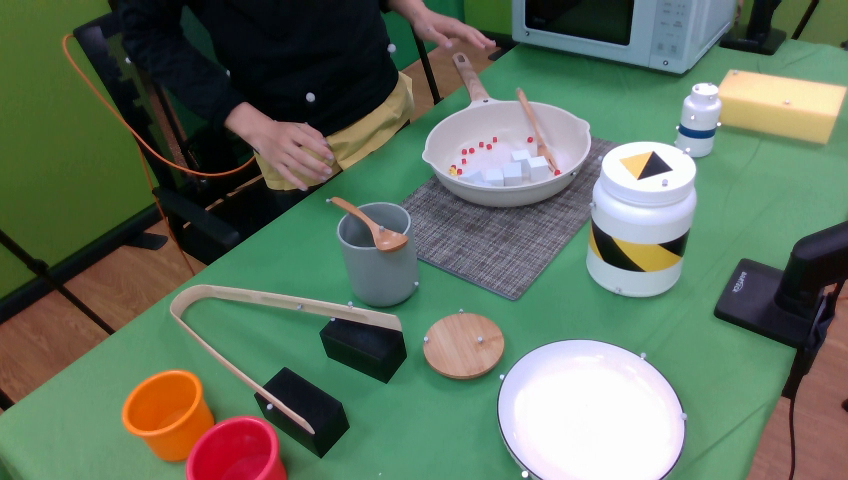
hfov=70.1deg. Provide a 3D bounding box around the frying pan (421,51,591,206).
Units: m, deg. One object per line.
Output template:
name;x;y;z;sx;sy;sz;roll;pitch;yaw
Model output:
frying pan;0.127;-0.233;1.154;0.307;0.103;0.484;-11;49;-5

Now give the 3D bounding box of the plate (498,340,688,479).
plate;0.189;0.206;0.692;0.207;0.039;0.206;-4;40;4

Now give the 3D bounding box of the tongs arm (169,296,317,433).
tongs arm;-0.248;0.149;0.775;0.384;0.028;0.028;21;57;44

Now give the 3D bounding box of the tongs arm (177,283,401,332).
tongs arm;-0.199;0.096;0.823;0.382;0.027;0.051;7;45;33

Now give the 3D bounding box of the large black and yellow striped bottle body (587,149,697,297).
large black and yellow striped bottle body;0.298;-0.026;0.835;0.131;0.185;0.130;-4;41;4

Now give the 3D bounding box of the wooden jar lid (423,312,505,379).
wooden jar lid;0.053;0.142;0.800;0.108;0.021;0.108;-4;39;4

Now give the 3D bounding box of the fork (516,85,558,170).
fork;0.208;-0.213;1.134;0.028;0.019;0.206;-16;66;1

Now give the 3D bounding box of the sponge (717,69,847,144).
sponge;0.663;-0.256;1.142;0.205;0.061;0.118;19;47;28

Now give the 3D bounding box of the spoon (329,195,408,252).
spoon;-0.082;-0.029;0.828;0.042;0.022;0.192;-31;43;-20

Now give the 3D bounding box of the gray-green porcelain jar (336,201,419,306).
gray-green porcelain jar;-0.064;0.024;0.872;0.106;0.127;0.105;-4;41;4

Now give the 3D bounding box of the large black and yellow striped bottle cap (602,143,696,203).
large black and yellow striped bottle cap;0.289;-0.088;0.779;0.115;0.019;0.114;-5;40;4

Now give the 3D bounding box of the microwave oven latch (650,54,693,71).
microwave oven latch;0.531;-0.386;1.301;0.078;0.029;0.030;26;51;33

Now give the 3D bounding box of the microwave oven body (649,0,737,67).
microwave oven body;0.475;-0.602;1.411;0.438;0.261;0.327;23;50;32

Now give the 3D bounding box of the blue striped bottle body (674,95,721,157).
blue striped bottle body;0.486;-0.213;1.071;0.063;0.121;0.063;-4;41;4

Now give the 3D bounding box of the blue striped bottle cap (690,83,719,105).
blue striped bottle cap;0.481;-0.251;1.038;0.044;0.021;0.044;-5;39;5

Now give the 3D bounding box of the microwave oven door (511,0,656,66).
microwave oven door;0.351;-0.539;1.349;0.353;0.245;0.039;24;50;31
